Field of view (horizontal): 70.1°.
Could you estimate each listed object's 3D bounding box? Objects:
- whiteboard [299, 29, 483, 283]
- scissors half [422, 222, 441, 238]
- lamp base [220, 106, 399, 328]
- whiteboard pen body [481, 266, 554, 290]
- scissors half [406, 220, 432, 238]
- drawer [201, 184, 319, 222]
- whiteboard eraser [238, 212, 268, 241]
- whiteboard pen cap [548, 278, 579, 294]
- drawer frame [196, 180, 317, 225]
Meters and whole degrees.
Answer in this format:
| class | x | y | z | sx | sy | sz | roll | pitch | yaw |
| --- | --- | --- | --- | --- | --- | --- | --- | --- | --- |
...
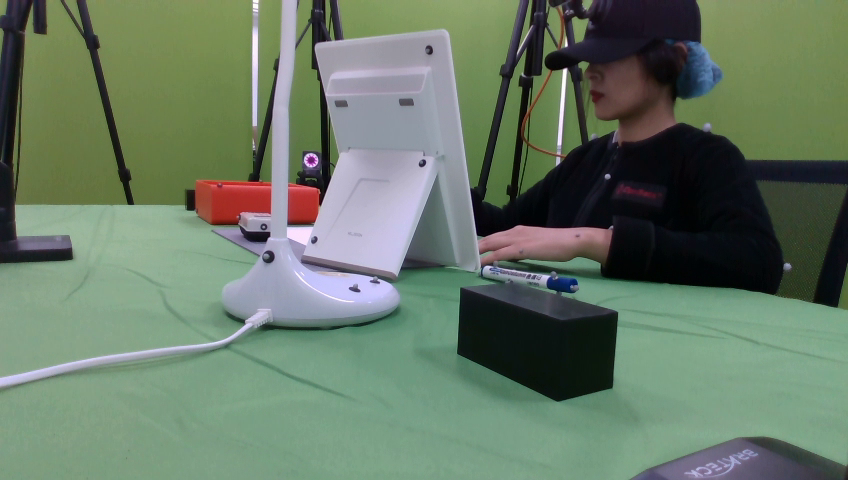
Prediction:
| class | x | y | z | sx | sy | sz | roll | pitch | yaw |
| --- | --- | --- | --- | --- | --- | --- | --- | --- | --- |
| whiteboard | -0.074 | -0.082 | 0.742 | 0.216 | 0.305 | 0.144 | 9 | 29 | 38 |
| scissors half | 0.014 | -0.018 | 1.217 | 0.040 | 0.013 | 0.175 | 14 | 9 | 1 |
| lamp base | -0.102 | -0.023 | 0.531 | 0.160 | 0.180 | 0.179 | 4 | 10 | 10 |
| whiteboard pen body | 0.115 | 0.045 | 0.695 | 0.017 | 0.017 | 0.140 | -3 | 6 | -35 |
| scissors half | -0.006 | -0.022 | 1.215 | 0.040 | 0.013 | 0.174 | 5 | 10 | -15 |
| drawer | -0.353 | -0.082 | 1.296 | 0.213 | 0.073 | 0.193 | -2 | 9 | -28 |
| whiteboard eraser | -0.272 | -0.024 | 0.998 | 0.056 | 0.042 | 0.112 | -2 | 9 | -24 |
| whiteboard pen cap | 0.148 | 0.049 | 0.647 | 0.018 | 0.018 | 0.033 | -3 | 3 | -36 |
| drawer frame | -0.359 | -0.083 | 1.292 | 0.215 | 0.082 | 0.200 | -2 | 10 | -30 |
